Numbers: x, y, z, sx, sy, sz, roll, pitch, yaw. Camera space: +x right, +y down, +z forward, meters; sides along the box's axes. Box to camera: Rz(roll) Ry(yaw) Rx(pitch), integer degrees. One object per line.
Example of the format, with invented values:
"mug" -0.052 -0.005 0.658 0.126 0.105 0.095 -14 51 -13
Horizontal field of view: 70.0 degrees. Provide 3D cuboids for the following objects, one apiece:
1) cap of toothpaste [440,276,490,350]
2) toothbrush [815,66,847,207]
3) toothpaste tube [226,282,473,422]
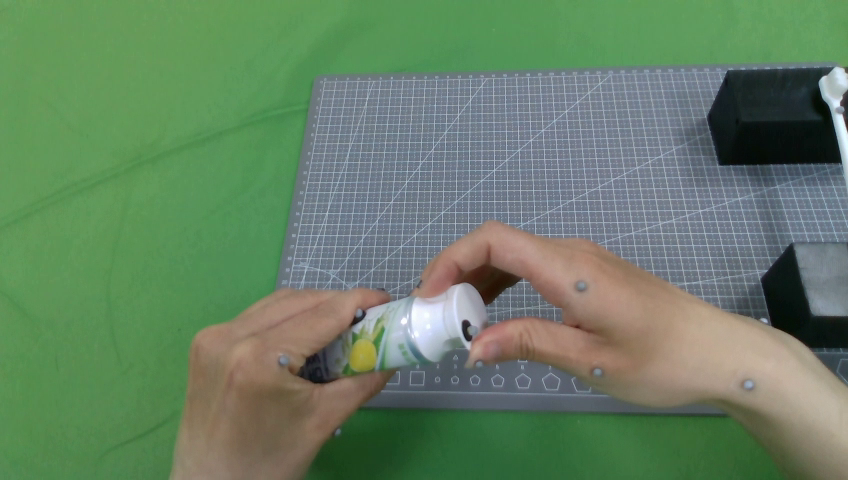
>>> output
"cap of toothpaste" 0.019 0.035 0.290 0.011 0.038 0.037 -19 54 29
"toothbrush" 0.273 -0.040 0.384 0.014 0.017 0.180 11 62 -5
"toothpaste tube" -0.045 0.058 0.328 0.165 0.035 0.055 -22 83 28
